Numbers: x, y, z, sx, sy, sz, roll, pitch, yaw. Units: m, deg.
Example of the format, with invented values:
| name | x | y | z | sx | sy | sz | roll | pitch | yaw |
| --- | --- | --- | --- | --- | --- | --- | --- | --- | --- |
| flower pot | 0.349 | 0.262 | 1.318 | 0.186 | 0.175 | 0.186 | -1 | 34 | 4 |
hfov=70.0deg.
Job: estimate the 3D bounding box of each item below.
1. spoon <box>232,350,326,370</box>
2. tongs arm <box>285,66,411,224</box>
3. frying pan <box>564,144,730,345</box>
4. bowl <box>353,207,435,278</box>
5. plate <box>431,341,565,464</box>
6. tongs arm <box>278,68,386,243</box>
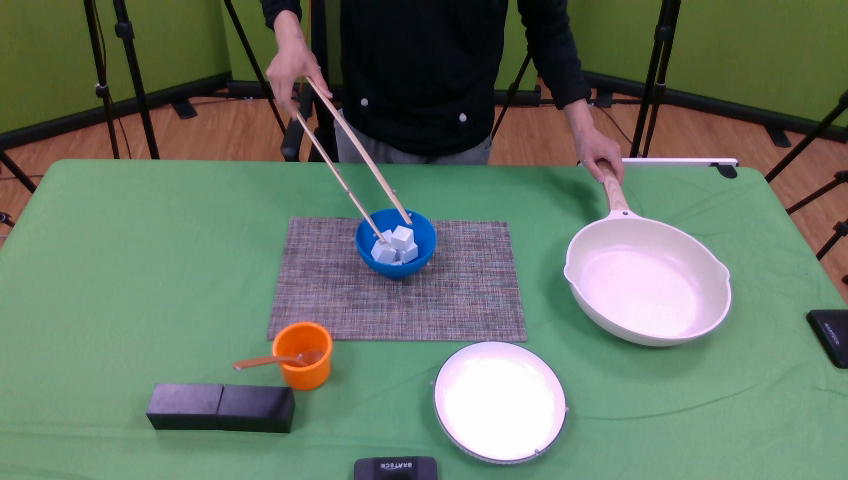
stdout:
| name | x | y | z | sx | sy | sz | roll | pitch | yaw |
| --- | --- | --- | --- | --- | --- | --- | --- | --- | --- |
| spoon | -0.216 | 0.183 | 0.919 | 0.041 | 0.194 | 0.021 | 44 | 102 | 27 |
| tongs arm | -0.140 | -0.181 | 1.113 | 0.386 | 0.028 | 0.028 | 54 | 16 | 12 |
| frying pan | 0.396 | -0.008 | 1.179 | 0.307 | 0.103 | 0.484 | 0 | 55 | -5 |
| bowl | -0.056 | 0.018 | 1.132 | 0.151 | 0.077 | 0.150 | 2 | 46 | -2 |
| plate | 0.114 | 0.255 | 0.952 | 0.208 | 0.039 | 0.206 | 3 | 46 | -2 |
| tongs arm | -0.167 | -0.160 | 1.121 | 0.051 | 0.026 | 0.383 | -40 | 77 | 13 |
